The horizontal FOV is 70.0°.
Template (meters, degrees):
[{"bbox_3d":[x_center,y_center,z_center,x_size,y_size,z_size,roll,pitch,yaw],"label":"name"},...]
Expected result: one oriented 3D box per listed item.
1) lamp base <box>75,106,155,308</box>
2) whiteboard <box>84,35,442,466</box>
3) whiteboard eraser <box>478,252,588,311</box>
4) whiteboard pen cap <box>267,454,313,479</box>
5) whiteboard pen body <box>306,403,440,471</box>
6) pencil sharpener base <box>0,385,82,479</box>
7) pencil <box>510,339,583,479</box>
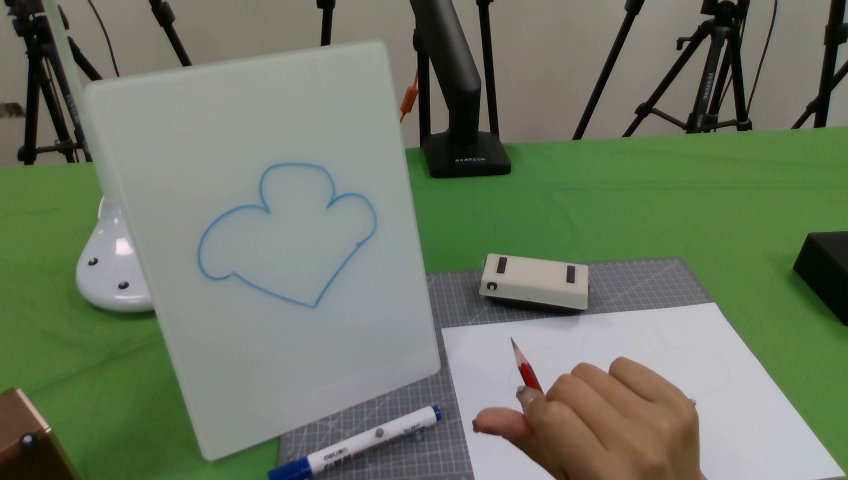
[{"bbox_3d":[-0.316,-0.045,0.647,0.178,0.182,0.160,21,41,29],"label":"lamp base"},{"bbox_3d":[-0.130,-0.004,0.539,0.218,0.307,0.142,-17,20,-21],"label":"whiteboard"},{"bbox_3d":[0.117,0.045,0.646,0.112,0.042,0.055,8,38,10],"label":"whiteboard eraser"},{"bbox_3d":[-0.104,0.180,0.471,0.033,0.018,0.018,-17,40,-21],"label":"whiteboard pen cap"},{"bbox_3d":[-0.051,0.164,0.493,0.141,0.017,0.017,-17,39,-21],"label":"whiteboard pen body"},{"bbox_3d":[-0.289,0.168,0.416,0.061,0.108,0.076,28,45,32],"label":"pencil sharpener base"},{"bbox_3d":[0.079,0.129,0.296,0.012,0.012,0.192,-10,52,-14],"label":"pencil"}]
